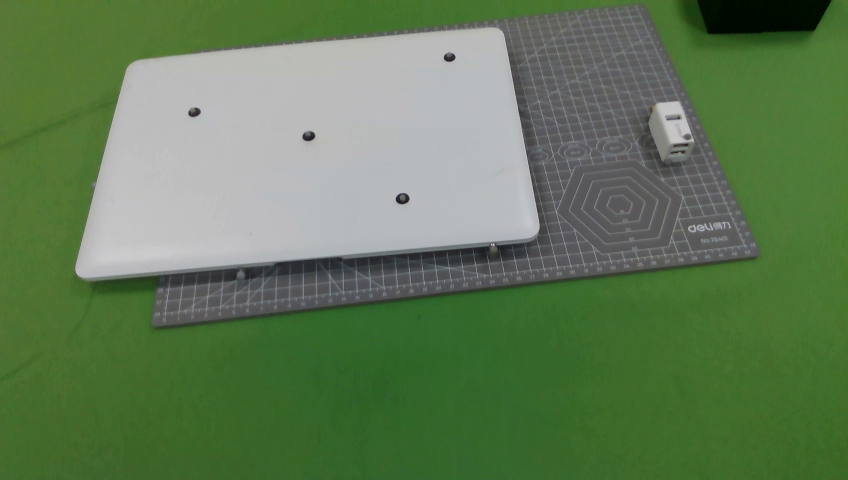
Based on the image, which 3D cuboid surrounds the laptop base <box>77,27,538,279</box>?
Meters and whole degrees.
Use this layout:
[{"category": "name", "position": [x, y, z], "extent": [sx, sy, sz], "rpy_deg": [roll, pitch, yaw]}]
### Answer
[{"category": "laptop base", "position": [-0.096, -0.082, 0.517], "extent": [0.354, 0.023, 0.233], "rpy_deg": [-5, 61, 0]}]

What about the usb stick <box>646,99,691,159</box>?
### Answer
[{"category": "usb stick", "position": [0.199, -0.097, 0.501], "extent": [0.021, 0.027, 0.058], "rpy_deg": [-6, 55, 2]}]

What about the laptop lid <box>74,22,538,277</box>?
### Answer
[{"category": "laptop lid", "position": [-0.096, -0.087, 0.505], "extent": [0.357, 0.013, 0.239], "rpy_deg": [-4, 60, 1]}]
